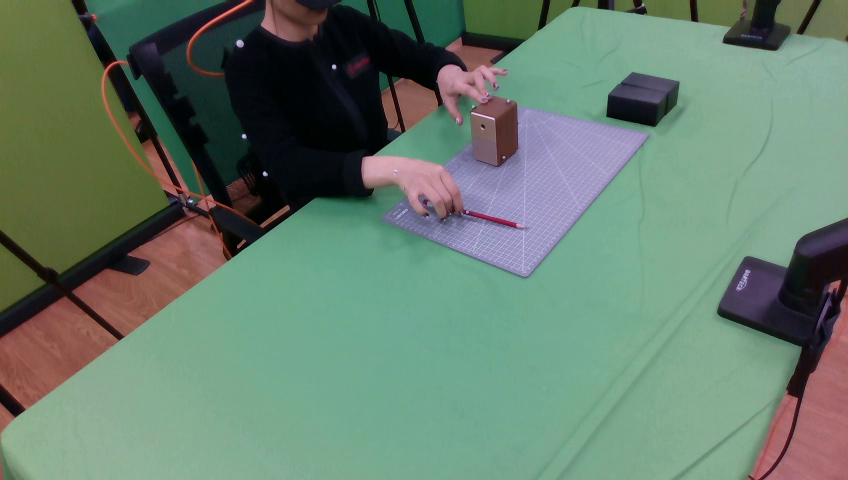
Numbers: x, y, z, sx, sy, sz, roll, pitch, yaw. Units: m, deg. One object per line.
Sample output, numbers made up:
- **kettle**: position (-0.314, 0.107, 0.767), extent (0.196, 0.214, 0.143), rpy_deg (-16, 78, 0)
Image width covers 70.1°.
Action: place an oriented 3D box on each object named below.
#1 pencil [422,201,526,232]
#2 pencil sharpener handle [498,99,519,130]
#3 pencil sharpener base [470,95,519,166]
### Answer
- **pencil**: position (0.081, -0.039, 1.015), extent (0.193, 0.012, 0.012), rpy_deg (17, 47, 24)
- **pencil sharpener handle**: position (0.165, -0.243, 1.148), extent (0.035, 0.068, 0.031), rpy_deg (21, 49, 35)
- **pencil sharpener base**: position (0.134, -0.205, 1.128), extent (0.061, 0.107, 0.077), rpy_deg (23, 50, 33)
